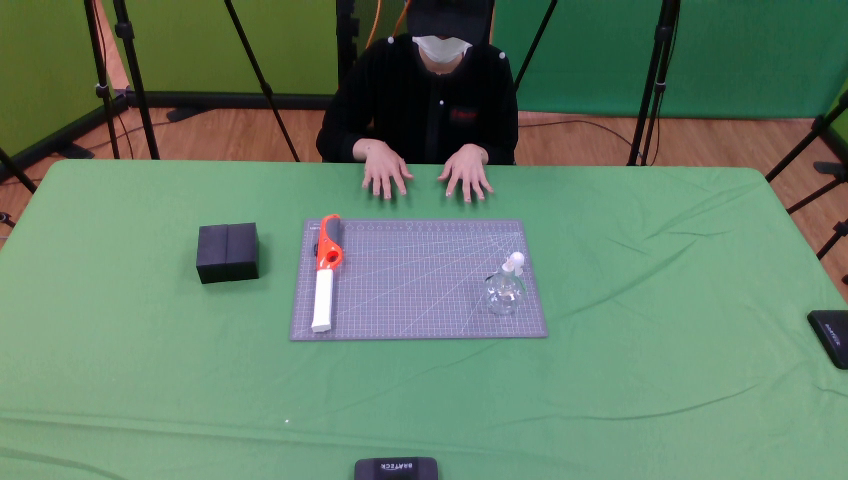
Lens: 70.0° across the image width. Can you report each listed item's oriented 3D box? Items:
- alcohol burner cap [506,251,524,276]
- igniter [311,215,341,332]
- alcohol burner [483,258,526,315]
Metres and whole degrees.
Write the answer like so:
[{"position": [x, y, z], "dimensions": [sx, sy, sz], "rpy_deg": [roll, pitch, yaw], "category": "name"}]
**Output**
[{"position": [0.175, 0.043, 1.151], "dimensions": [0.034, 0.048, 0.033], "rpy_deg": [2, 46, -1], "category": "alcohol burner cap"}, {"position": [-0.183, 0.052, 1.124], "dimensions": [0.057, 0.025, 0.274], "rpy_deg": [-7, 46, 3], "category": "igniter"}, {"position": [0.143, 0.076, 1.067], "dimensions": [0.078, 0.120, 0.077], "rpy_deg": [1, 45, -1], "category": "alcohol burner"}]
